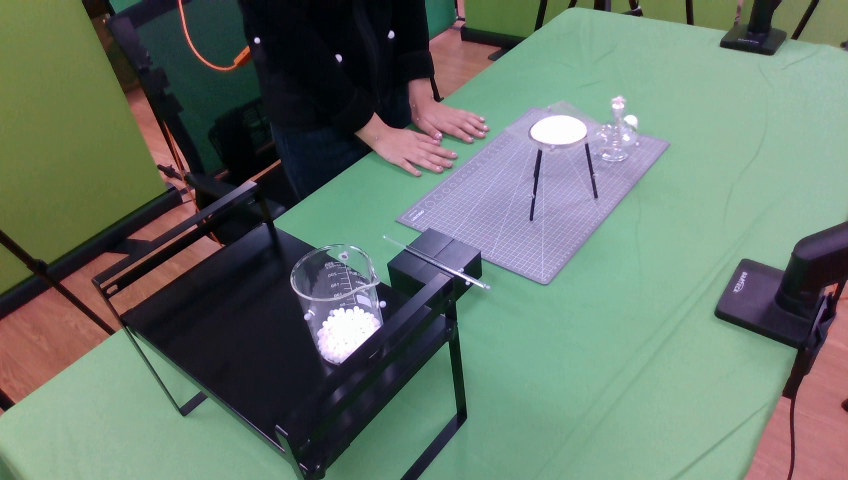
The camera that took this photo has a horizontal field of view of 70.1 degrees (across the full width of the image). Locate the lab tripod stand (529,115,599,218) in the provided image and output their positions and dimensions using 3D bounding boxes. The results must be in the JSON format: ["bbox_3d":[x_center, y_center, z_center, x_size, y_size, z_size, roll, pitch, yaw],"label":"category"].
[{"bbox_3d":[0.217,-0.123,0.996,0.148,0.132,0.147,-4,42,4],"label":"lab tripod stand"}]

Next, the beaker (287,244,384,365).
[{"bbox_3d":[-0.076,0.065,0.574,0.083,0.101,0.074,7,44,15],"label":"beaker"}]

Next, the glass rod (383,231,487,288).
[{"bbox_3d":[0.011,0.027,0.879,0.198,0.008,0.008,27,51,34],"label":"glass rod"}]

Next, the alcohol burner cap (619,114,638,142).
[{"bbox_3d":[0.388,-0.214,1.145,0.034,0.048,0.033,-3,39,3],"label":"alcohol burner cap"}]

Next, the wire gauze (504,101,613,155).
[{"bbox_3d":[0.211,-0.176,0.955,0.125,0.011,0.120,-24,44,-18],"label":"wire gauze"}]

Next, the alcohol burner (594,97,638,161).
[{"bbox_3d":[0.345,-0.203,1.083,0.078,0.119,0.077,-5,42,5],"label":"alcohol burner"}]
